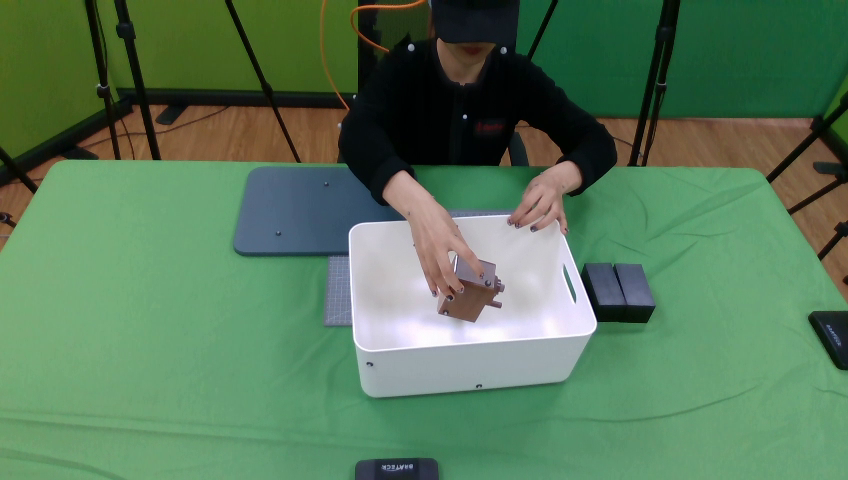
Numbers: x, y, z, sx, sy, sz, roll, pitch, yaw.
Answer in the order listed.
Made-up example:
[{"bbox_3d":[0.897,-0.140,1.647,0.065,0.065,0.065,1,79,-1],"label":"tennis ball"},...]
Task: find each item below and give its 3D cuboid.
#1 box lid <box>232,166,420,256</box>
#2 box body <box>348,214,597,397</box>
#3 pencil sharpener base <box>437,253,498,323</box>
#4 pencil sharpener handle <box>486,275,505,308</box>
[{"bbox_3d":[-0.191,-0.066,1.255,0.372,0.015,0.261,-1,46,-4],"label":"box lid"},{"bbox_3d":[0.062,0.108,1.000,0.364,0.161,0.252,-3,47,-7],"label":"box body"},{"bbox_3d":[0.072,0.082,1.009,0.077,0.107,0.061,15,49,-6],"label":"pencil sharpener base"},{"bbox_3d":[0.124,0.088,1.004,0.031,0.068,0.036,15,45,-6],"label":"pencil sharpener handle"}]
